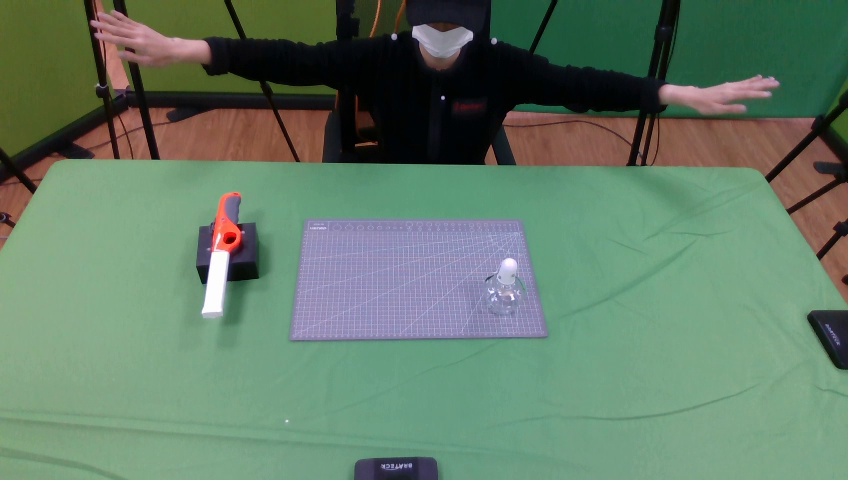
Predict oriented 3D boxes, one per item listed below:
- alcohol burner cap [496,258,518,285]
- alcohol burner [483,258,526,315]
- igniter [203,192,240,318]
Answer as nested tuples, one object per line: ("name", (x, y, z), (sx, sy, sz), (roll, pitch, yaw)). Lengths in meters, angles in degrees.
("alcohol burner cap", (0.144, 0.051, 1.041), (0.034, 0.048, 0.033), (3, 45, -3))
("alcohol burner", (0.143, 0.076, 1.067), (0.078, 0.120, 0.077), (1, 45, -1))
("igniter", (-0.361, 0.017, 1.084), (0.057, 0.025, 0.274), (-3, 51, -6))
